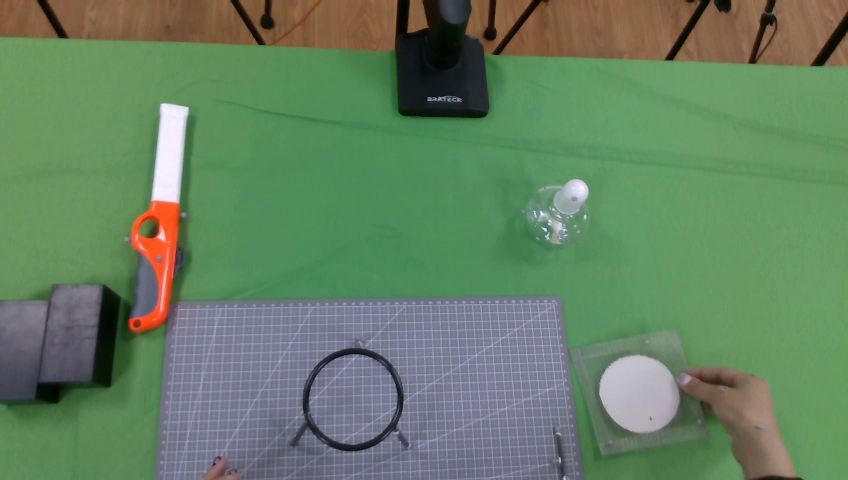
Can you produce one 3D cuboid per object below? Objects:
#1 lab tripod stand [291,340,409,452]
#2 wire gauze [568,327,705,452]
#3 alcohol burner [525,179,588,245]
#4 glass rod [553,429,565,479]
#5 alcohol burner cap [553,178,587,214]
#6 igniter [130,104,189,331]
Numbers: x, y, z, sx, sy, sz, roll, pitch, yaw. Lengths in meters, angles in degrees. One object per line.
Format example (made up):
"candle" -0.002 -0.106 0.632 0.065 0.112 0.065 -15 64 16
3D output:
"lab tripod stand" -0.072 0.159 0.599 0.148 0.132 0.147 2 69 -5
"wire gauze" 0.241 0.169 0.692 0.125 0.011 0.120 -12 70 4
"alcohol burner" 0.162 -0.039 0.714 0.078 0.119 0.077 3 68 -6
"glass rod" 0.153 0.304 0.644 0.008 0.008 0.198 -1 70 -8
"alcohol burner cap" 0.167 -0.051 0.680 0.034 0.048 0.033 1 74 -3
"igniter" -0.300 -0.032 0.696 0.057 0.025 0.274 6 69 -21
